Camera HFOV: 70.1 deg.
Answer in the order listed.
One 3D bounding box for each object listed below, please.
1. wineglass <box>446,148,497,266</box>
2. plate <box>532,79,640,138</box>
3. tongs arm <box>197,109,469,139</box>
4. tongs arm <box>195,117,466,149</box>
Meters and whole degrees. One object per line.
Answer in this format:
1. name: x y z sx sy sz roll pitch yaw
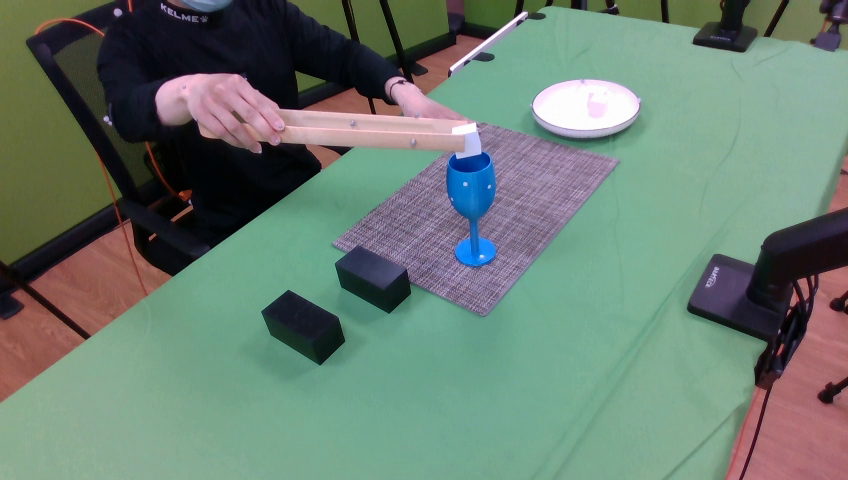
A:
1. wineglass: 0.072 -0.045 0.889 0.074 0.173 0.073 -4 41 4
2. plate: 0.322 -0.259 1.212 0.209 0.038 0.208 -4 40 4
3. tongs arm: -0.131 -0.158 0.843 0.384 0.026 0.050 6 36 12
4. tongs arm: -0.135 -0.144 0.824 0.387 0.028 0.028 4 39 9
